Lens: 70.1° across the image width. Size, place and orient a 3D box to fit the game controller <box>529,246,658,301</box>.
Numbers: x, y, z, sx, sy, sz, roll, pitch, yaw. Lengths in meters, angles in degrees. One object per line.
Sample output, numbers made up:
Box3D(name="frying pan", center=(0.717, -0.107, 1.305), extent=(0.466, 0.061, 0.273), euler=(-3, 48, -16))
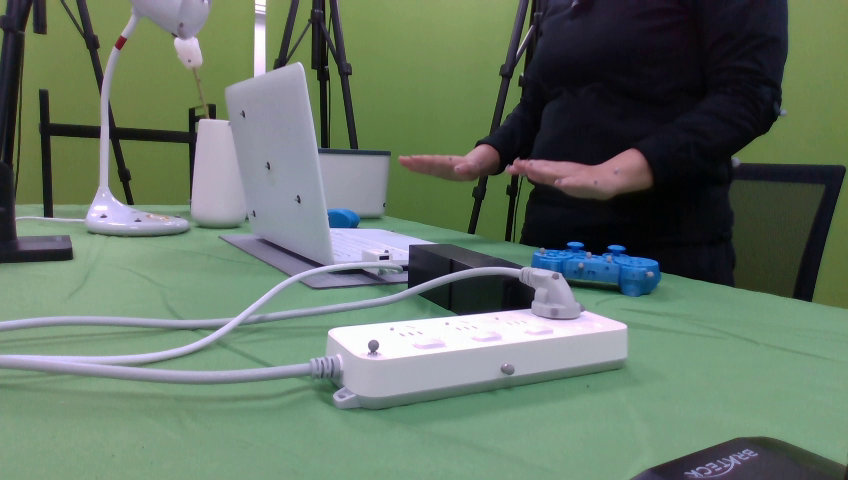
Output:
Box3D(name="game controller", center=(0.202, 0.036, 0.733), extent=(0.155, 0.051, 0.097), euler=(5, 10, 19))

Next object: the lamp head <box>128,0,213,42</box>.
Box3D(name="lamp head", center=(-0.423, -0.394, 0.980), extent=(0.123, 0.112, 0.112), euler=(20, 7, -3))

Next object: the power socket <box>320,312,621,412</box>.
Box3D(name="power socket", center=(0.038, 0.075, 0.409), extent=(0.228, 0.032, 0.072), euler=(-2, 8, -29))

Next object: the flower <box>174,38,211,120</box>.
Box3D(name="flower", center=(-0.401, -0.207, 1.141), extent=(0.038, 0.361, 0.044), euler=(-14, 3, 44))

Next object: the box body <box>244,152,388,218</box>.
Box3D(name="box body", center=(-0.297, -0.143, 1.475), extent=(0.366, 0.160, 0.253), euler=(-1, 9, -30))

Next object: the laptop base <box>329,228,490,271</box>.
Box3D(name="laptop base", center=(-0.096, 0.011, 0.912), extent=(0.237, 0.023, 0.352), euler=(2, 7, -32))

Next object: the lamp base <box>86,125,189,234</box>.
Box3D(name="lamp base", center=(-0.497, -0.105, 1.027), extent=(0.179, 0.180, 0.160), euler=(1, 7, 2))

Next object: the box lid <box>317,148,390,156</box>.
Box3D(name="box lid", center=(-0.295, -0.217, 1.464), extent=(0.373, 0.015, 0.262), euler=(-1, 8, -30))

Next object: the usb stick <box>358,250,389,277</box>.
Box3D(name="usb stick", center=(-0.062, 0.026, 0.708), extent=(0.021, 0.027, 0.059), euler=(-4, 5, -28))

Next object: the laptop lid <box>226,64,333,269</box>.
Box3D(name="laptop lid", center=(-0.209, -0.101, 0.824), extent=(0.013, 0.241, 0.355), euler=(-14, 16, -29))

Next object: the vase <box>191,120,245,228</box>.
Box3D(name="vase", center=(-0.389, -0.124, 1.142), extent=(0.098, 0.200, 0.098), euler=(3, 9, 0))

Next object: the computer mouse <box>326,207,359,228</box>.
Box3D(name="computer mouse", center=(-0.194, -0.046, 1.240), extent=(0.117, 0.041, 0.063), euler=(-1, 9, 12))

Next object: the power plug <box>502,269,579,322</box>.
Box3D(name="power plug", center=(0.091, 0.051, 0.469), extent=(0.035, 0.052, 0.072), euler=(0, 5, -18))
